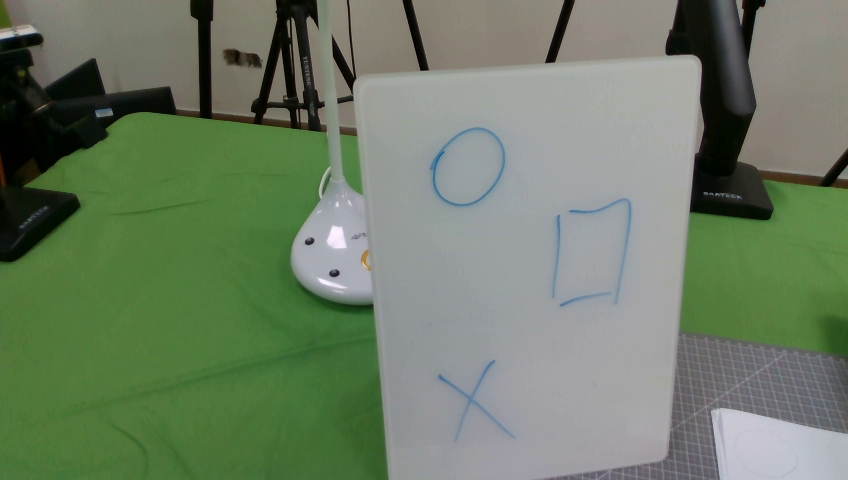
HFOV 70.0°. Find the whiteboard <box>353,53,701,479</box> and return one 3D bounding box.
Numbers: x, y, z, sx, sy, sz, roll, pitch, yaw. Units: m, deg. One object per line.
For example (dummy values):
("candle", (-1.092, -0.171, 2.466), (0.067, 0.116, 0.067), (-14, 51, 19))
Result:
("whiteboard", (0.066, 0.019, 0.471), (0.217, 0.307, 0.143), (-5, 19, -6))

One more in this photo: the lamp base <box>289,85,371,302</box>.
("lamp base", (-0.072, -0.056, 0.622), (0.161, 0.182, 0.177), (-23, 41, -28))
